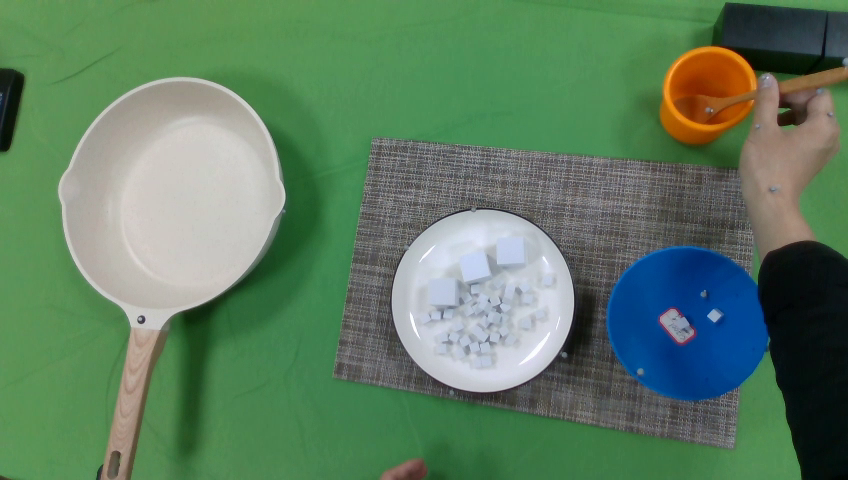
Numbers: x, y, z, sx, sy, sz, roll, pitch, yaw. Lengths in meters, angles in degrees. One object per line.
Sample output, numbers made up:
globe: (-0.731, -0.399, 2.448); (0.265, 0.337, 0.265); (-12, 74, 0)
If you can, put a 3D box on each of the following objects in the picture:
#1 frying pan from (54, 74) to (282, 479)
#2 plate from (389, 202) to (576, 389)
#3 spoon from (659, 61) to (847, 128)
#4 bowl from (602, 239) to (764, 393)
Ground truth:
frying pan: (-0.324, 0.042, 0.735); (0.306, 0.103, 0.485); (5, 75, 12)
plate: (0.065, 0.062, 0.687); (0.207, 0.039, 0.207); (-2, 82, 11)
spoon: (0.319, -0.146, 0.606); (0.022, 0.193, 0.041); (3, 87, -27)
bowl: (0.258, 0.079, 0.626); (0.151, 0.077, 0.151); (-2, 82, 11)
